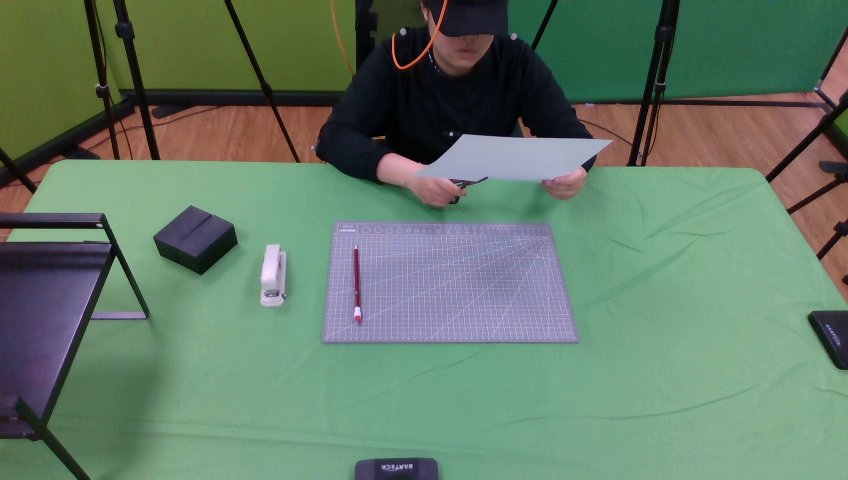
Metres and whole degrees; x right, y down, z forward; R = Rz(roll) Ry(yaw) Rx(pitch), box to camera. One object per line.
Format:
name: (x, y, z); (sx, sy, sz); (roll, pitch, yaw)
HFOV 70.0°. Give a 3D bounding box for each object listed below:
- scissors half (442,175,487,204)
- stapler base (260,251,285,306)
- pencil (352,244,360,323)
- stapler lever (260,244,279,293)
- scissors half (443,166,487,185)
scissors half: (0.080, -0.103, 1.194); (0.013, 0.175, 0.040); (-5, 82, -25)
stapler base: (-0.279, 0.064, 1.113); (0.041, 0.024, 0.129); (-2, 44, -9)
pencil: (-0.127, 0.075, 1.119); (0.012, 0.012, 0.192); (-2, 44, -7)
stapler lever: (-0.279, 0.046, 1.096); (0.027, 0.040, 0.117); (-2, 45, -9)
scissors half: (0.080, -0.124, 1.194); (0.013, 0.040, 0.174); (1, 8, -25)
